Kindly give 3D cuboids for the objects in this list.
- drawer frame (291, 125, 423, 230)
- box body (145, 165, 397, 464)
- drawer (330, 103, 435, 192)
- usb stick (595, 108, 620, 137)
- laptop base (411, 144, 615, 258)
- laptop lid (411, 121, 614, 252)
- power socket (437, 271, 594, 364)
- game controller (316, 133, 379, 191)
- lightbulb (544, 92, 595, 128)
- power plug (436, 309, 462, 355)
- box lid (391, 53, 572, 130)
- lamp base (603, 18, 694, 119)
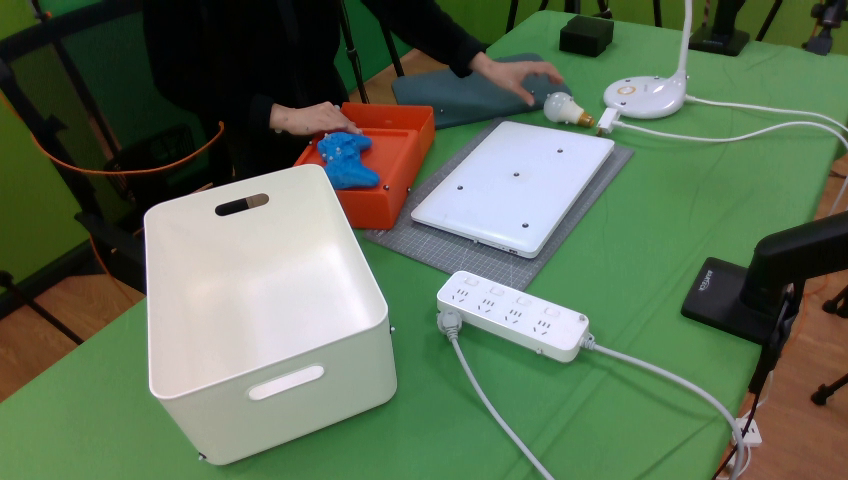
[{"bbox_3d":[-0.124,-0.119,1.085,0.201,0.083,0.213,5,41,13],"label":"drawer frame"},{"bbox_3d":[-0.205,0.080,0.802,0.255,0.161,0.361,-18,41,-13],"label":"box body"},{"bbox_3d":[-0.098,-0.181,1.161,0.194,0.073,0.211,6,42,14],"label":"drawer"},{"bbox_3d":[0.355,-0.225,1.175,0.027,0.022,0.059,29,85,40],"label":"usb stick"},{"bbox_3d":[0.167,-0.102,1.074,0.234,0.023,0.355,16,45,30],"label":"laptop base"},{"bbox_3d":[0.164,-0.112,1.068,0.240,0.013,0.357,19,46,30],"label":"laptop lid"},{"bbox_3d":[0.118,0.102,0.830,0.225,0.033,0.072,20,48,28],"label":"power socket"},{"bbox_3d":[-0.134,-0.139,1.031,0.097,0.052,0.154,-13,39,-1],"label":"game controller"},{"bbox_3d":[0.293,-0.257,1.215,0.107,0.059,0.059,30,51,16],"label":"lightbulb"},{"bbox_3d":[0.032,0.126,0.810,0.035,0.053,0.072,3,59,7],"label":"power plug"},{"bbox_3d":[0.122,-0.339,1.366,0.372,0.015,0.261,-12,40,-5],"label":"box lid"},{"bbox_3d":[0.460,-0.355,1.205,0.179,0.181,0.160,2,41,7],"label":"lamp base"}]
